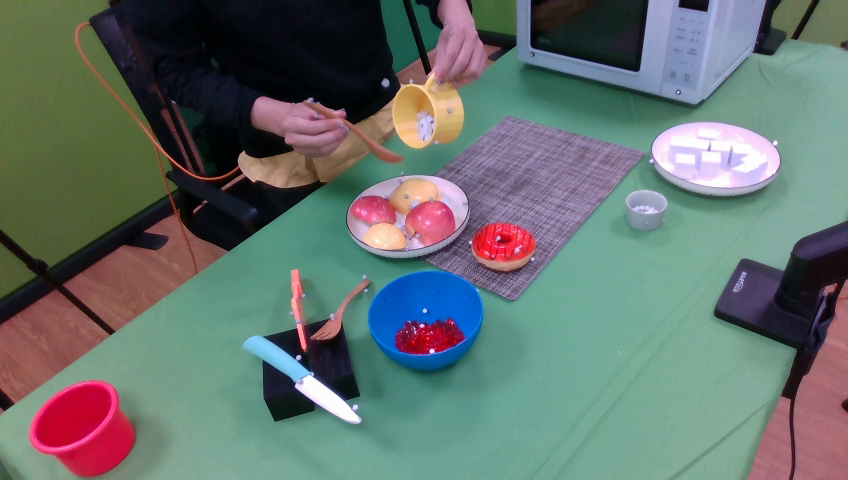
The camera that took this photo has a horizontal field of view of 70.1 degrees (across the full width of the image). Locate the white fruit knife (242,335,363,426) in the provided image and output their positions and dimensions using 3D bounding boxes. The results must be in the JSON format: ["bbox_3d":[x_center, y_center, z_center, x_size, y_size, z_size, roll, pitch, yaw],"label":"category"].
[{"bbox_3d":[-0.148,0.166,0.730,0.206,0.016,0.027,26,80,31],"label":"white fruit knife"}]

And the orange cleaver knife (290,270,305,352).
[{"bbox_3d":[-0.175,0.094,0.844,0.012,0.077,0.210,-11,15,-10],"label":"orange cleaver knife"}]

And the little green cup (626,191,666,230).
[{"bbox_3d":[0.352,-0.046,0.963,0.061,0.039,0.061,-4,40,4],"label":"little green cup"}]

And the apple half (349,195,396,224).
[{"bbox_3d":[-0.081,-0.055,1.009,0.081,0.033,0.081,11,24,-4],"label":"apple half"}]

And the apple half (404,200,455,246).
[{"bbox_3d":[0.009,-0.035,0.969,0.075,0.053,0.080,-27,40,-23],"label":"apple half"}]

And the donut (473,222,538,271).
[{"bbox_3d":[0.123,0.008,0.923,0.099,0.048,0.098,-3,38,3],"label":"donut"}]

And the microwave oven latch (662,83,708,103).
[{"bbox_3d":[0.517,-0.296,1.204,0.078,0.029,0.030,28,52,35],"label":"microwave oven latch"}]

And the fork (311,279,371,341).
[{"bbox_3d":[-0.108,0.092,0.832,0.028,0.019,0.207,-6,19,15],"label":"fork"}]

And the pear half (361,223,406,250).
[{"bbox_3d":[-0.063,-0.012,0.959,0.071,0.031,0.087,3,24,-25],"label":"pear half"}]

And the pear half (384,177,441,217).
[{"bbox_3d":[-0.030,-0.079,1.033,0.109,0.056,0.076,0,36,16],"label":"pear half"}]

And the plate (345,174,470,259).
[{"bbox_3d":[-0.026,-0.037,1.004,0.209,0.038,0.208,-4,40,4],"label":"plate"}]

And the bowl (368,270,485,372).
[{"bbox_3d":[0.007,0.118,0.791,0.151,0.077,0.150,-5,40,4],"label":"bowl"}]

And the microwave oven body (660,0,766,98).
[{"bbox_3d":[0.472,-0.513,1.317,0.438,0.261,0.327,26,51,34],"label":"microwave oven body"}]

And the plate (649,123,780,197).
[{"bbox_3d":[0.497,-0.134,1.046,0.207,0.039,0.206,-4,40,4],"label":"plate"}]

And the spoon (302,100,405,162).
[{"bbox_3d":[-0.101,-0.159,0.895,0.041,0.195,0.021,0,67,45],"label":"spoon"}]

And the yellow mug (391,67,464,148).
[{"bbox_3d":[0.009,-0.212,0.953,0.064,0.131,0.099,-20,54,-43],"label":"yellow mug"}]

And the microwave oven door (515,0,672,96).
[{"bbox_3d":[0.344,-0.455,1.259,0.353,0.245,0.039,26,51,33],"label":"microwave oven door"}]
